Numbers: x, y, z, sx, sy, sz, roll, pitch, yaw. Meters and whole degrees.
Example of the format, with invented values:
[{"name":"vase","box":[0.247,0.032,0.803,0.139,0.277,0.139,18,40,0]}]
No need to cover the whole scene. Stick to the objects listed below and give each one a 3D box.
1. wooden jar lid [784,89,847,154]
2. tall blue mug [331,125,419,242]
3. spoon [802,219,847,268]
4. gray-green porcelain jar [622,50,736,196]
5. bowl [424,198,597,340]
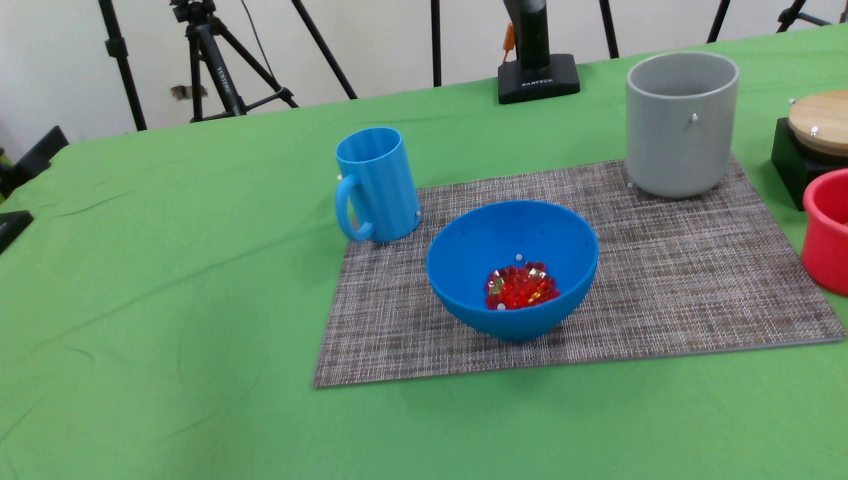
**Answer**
[{"name":"wooden jar lid","box":[0.419,-0.117,0.601,0.108,0.021,0.107,-10,38,8]},{"name":"tall blue mug","box":[-0.055,-0.054,0.678,0.077,0.109,0.106,-6,39,9]},{"name":"spoon","box":[0.399,-0.045,0.497,0.022,0.194,0.041,27,28,-20]},{"name":"gray-green porcelain jar","box":[0.265,-0.118,0.640,0.106,0.128,0.105,-9,39,8]},{"name":"bowl","box":[0.080,0.037,0.547,0.151,0.077,0.150,-9,38,7]}]
